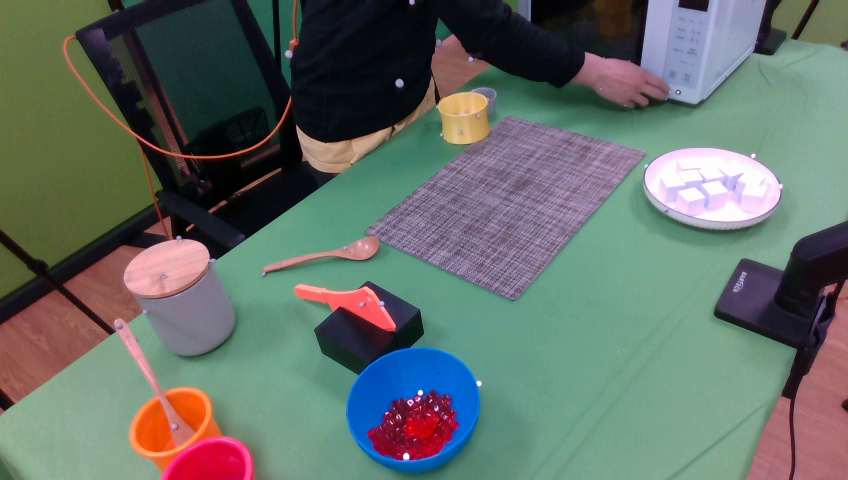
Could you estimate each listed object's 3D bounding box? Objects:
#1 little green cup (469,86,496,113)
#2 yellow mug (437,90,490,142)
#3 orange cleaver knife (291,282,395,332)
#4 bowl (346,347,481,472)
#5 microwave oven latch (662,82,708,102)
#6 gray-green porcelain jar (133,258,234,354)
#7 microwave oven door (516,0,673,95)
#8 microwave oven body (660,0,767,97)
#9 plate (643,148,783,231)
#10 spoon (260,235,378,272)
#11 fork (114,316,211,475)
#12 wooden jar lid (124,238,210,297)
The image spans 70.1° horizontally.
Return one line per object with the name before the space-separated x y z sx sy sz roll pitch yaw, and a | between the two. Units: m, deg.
little green cup | 0.123 -0.298 1.284 0.061 0.039 0.061 -2 38 2
yellow mug | 0.070 -0.257 1.224 0.100 0.064 0.129 -33 44 -26
orange cleaver knife | -0.116 0.091 0.835 0.209 0.077 0.012 1 32 47
bowl | -0.008 0.205 0.690 0.151 0.077 0.150 -4 40 4
microwave oven latch | 0.518 -0.298 1.203 0.078 0.029 0.030 28 52 35
gray-green porcelain jar | -0.328 0.087 0.836 0.106 0.127 0.105 -4 41 4
microwave oven door | 0.344 -0.458 1.257 0.353 0.245 0.039 26 51 33
microwave oven body | 0.474 -0.516 1.314 0.438 0.261 0.327 26 51 34
plate | 0.464 -0.080 0.986 0.207 0.039 0.206 -4 41 4
spoon | -0.168 0.024 0.966 0.194 0.022 0.041 -10 59 -3
fork | -0.309 0.180 0.708 0.028 0.018 0.207 -29 89 -24
wooden jar lid | -0.335 0.039 0.794 0.108 0.021 0.108 -2 40 2
